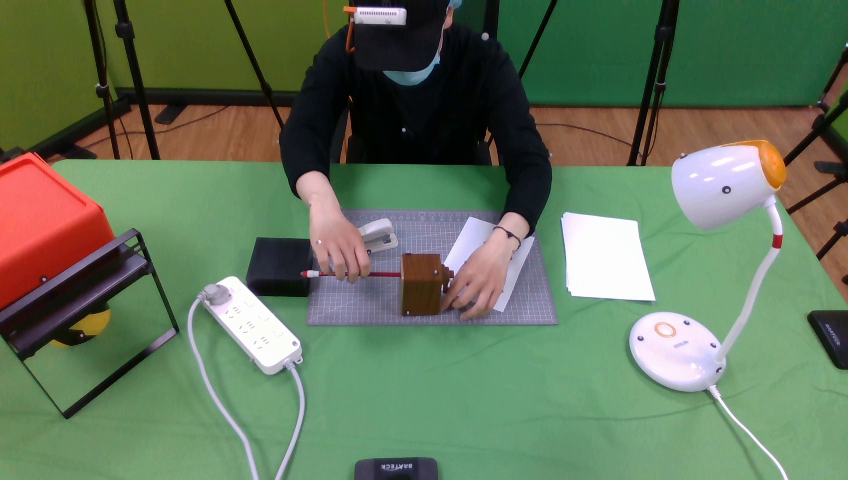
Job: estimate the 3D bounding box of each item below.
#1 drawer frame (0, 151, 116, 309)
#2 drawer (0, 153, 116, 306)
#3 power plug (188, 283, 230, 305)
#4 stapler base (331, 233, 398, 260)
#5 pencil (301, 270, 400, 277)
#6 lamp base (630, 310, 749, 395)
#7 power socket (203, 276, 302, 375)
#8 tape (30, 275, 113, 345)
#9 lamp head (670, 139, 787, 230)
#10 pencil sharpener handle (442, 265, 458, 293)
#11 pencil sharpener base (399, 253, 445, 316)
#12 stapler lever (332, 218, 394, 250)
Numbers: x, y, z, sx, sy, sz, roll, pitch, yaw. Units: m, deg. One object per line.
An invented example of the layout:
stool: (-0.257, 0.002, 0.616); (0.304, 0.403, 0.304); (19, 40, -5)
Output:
drawer frame: (-0.604, -0.013, 0.876); (0.201, 0.083, 0.213); (31, 52, 23)
drawer: (-0.601, -0.015, 0.880); (0.193, 0.073, 0.211); (32, 53, 23)
power plug: (-0.368, 0.099, 1.036); (0.072, 0.053, 0.035); (-24, 52, -25)
stapler base: (-0.116, 0.004, 1.181); (0.131, 0.024, 0.041); (-13, 48, -14)
pencil: (-0.114, 0.057, 1.039); (0.194, 0.012, 0.012); (0, 46, 2)
lamp base: (0.447, 0.143, 0.984); (0.161, 0.181, 0.178); (-24, 55, -24)
power socket: (-0.297, 0.141, 1.034); (0.072, 0.033, 0.225); (-34, 58, -30)
tape: (-0.593, 0.117, 1.021); (0.117, 0.053, 0.116); (2, 46, -2)
lamp head: (0.415, -0.079, 0.812); (0.113, 0.123, 0.112); (13, 70, -37)
pencil sharpener handle: (0.047, 0.069, 1.056); (0.031, 0.068, 0.036); (-1, 49, -5)
pencil sharpener base: (-0.005, 0.079, 1.060); (0.077, 0.107, 0.061); (-1, 46, -5)
stapler lever: (-0.116, -0.012, 1.162); (0.118, 0.040, 0.026); (-13, 48, -14)
